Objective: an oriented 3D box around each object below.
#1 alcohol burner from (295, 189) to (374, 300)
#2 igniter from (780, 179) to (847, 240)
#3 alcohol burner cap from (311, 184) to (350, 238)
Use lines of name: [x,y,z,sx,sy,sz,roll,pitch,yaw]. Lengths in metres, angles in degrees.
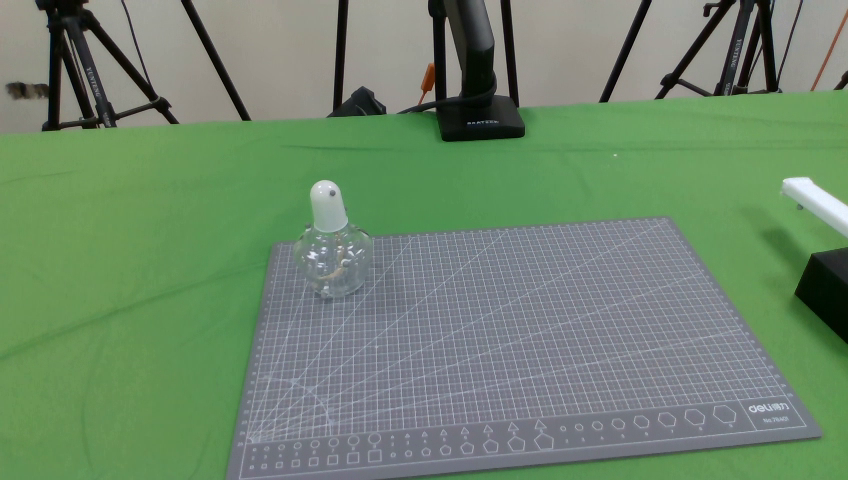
alcohol burner: [-0.087,-0.001,0.580,0.078,0.120,0.077,0,38,0]
igniter: [0.420,0.013,0.544,0.057,0.025,0.273,-5,32,-6]
alcohol burner cap: [-0.087,-0.030,0.558,0.034,0.048,0.033,-2,38,2]
